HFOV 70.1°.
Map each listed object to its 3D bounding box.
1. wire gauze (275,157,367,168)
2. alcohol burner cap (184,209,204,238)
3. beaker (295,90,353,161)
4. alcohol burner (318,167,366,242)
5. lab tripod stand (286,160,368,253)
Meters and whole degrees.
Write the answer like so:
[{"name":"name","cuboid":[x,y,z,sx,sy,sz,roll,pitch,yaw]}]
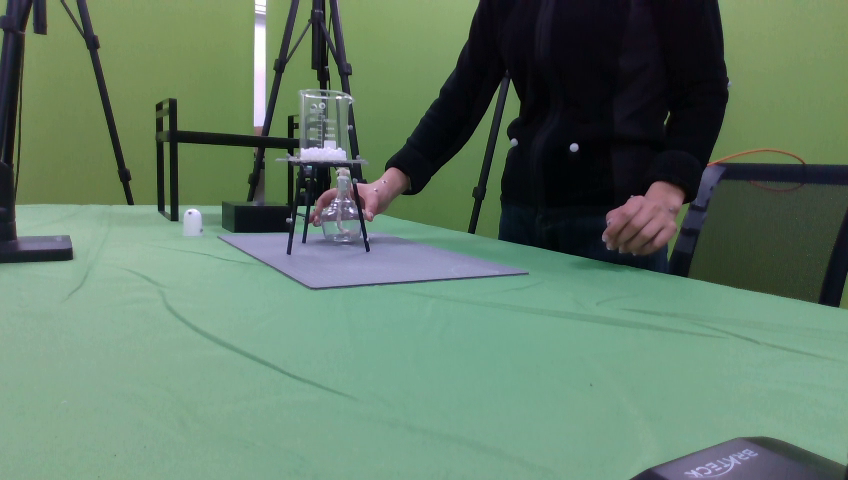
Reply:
[{"name":"wire gauze","cuboid":[-0.148,-0.117,0.895,0.121,0.011,0.125,3,5,-3]},{"name":"alcohol burner cap","cuboid":[-0.390,-0.029,1.026,0.034,0.048,0.034,2,9,0]},{"name":"beaker","cuboid":[-0.146,-0.164,0.884,0.084,0.100,0.074,1,7,-6]},{"name":"alcohol burner","cuboid":[-0.131,-0.058,0.971,0.078,0.119,0.078,3,8,0]},{"name":"lab tripod stand","cuboid":[-0.157,-0.053,0.901,0.148,0.131,0.148,0,7,0]}]
